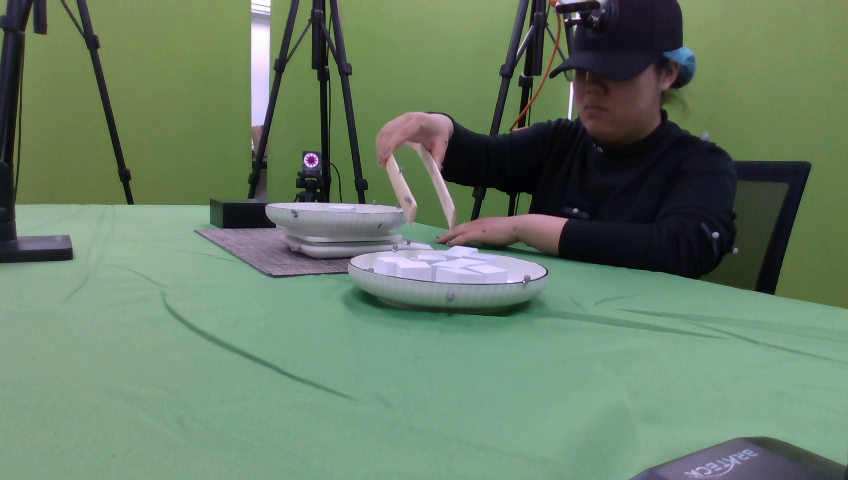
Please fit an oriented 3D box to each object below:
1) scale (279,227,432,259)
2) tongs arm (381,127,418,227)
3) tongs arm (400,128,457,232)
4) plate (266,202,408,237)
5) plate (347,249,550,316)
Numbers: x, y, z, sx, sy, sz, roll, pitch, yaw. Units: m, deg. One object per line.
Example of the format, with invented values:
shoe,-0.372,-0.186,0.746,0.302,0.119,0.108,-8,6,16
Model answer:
scale,-0.100,0.001,0.899,0.202,0.031,0.148,-1,8,-31
tongs arm,-0.026,-0.099,0.827,0.051,0.026,0.383,5,23,-14
tongs arm,0.002,-0.096,0.833,0.028,0.028,0.386,3,23,-10
plate,-0.123,-0.030,0.879,0.208,0.039,0.207,2,6,0
plate,0.024,0.042,0.627,0.209,0.038,0.209,2,7,0
